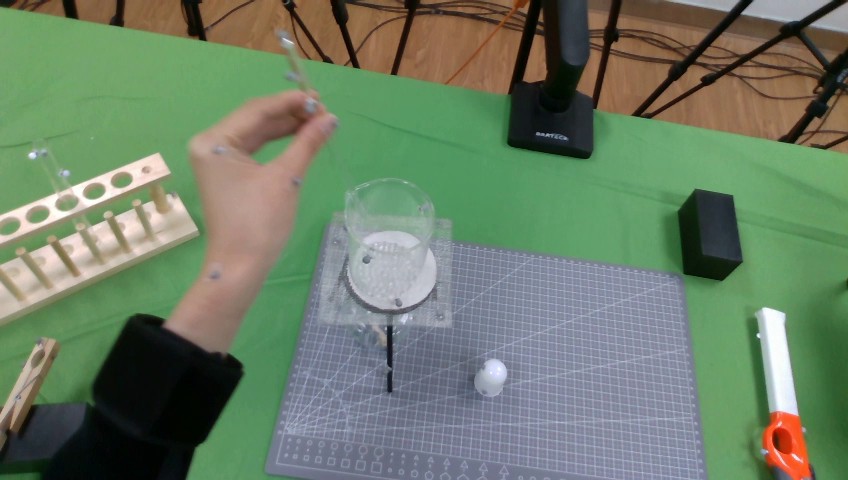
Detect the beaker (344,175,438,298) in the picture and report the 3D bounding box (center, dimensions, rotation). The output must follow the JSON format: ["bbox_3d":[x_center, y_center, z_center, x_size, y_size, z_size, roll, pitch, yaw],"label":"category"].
[{"bbox_3d":[-0.034,0.000,0.531,0.083,0.101,0.074,31,61,11],"label":"beaker"}]

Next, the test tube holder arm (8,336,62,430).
[{"bbox_3d":[-0.364,0.132,0.563,0.010,0.015,0.087,11,58,1],"label":"test tube holder arm"}]

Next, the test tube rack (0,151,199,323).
[{"bbox_3d":[-0.382,-0.002,0.658,0.242,0.086,0.066,-28,66,-21],"label":"test tube rack"}]

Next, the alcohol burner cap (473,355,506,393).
[{"bbox_3d":[0.071,0.141,0.646,0.034,0.048,0.033,2,59,-4],"label":"alcohol burner cap"}]

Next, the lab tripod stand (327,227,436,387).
[{"bbox_3d":[-0.038,0.062,0.628,0.148,0.132,0.147,4,60,-6],"label":"lab tripod stand"}]

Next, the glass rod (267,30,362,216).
[{"bbox_3d":[-0.071,-0.068,0.423,0.008,0.201,0.008,-4,62,8],"label":"glass rod"}]

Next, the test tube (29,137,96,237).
[{"bbox_3d":[-0.372,-0.049,0.630,0.017,0.151,0.017,4,54,-5],"label":"test tube"}]

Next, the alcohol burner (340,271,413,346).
[{"bbox_3d":[-0.048,0.065,0.636,0.078,0.120,0.077,4,58,-6],"label":"alcohol burner"}]

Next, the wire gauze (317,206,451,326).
[{"bbox_3d":[-0.035,0.024,0.574,0.121,0.011,0.124,3,63,-3],"label":"wire gauze"}]

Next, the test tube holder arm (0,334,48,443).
[{"bbox_3d":[-0.377,0.168,0.539,0.013,0.015,0.177,11,58,1],"label":"test tube holder arm"}]

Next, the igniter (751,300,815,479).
[{"bbox_3d":[0.391,0.194,0.662,0.057,0.025,0.274,16,59,-9],"label":"igniter"}]
